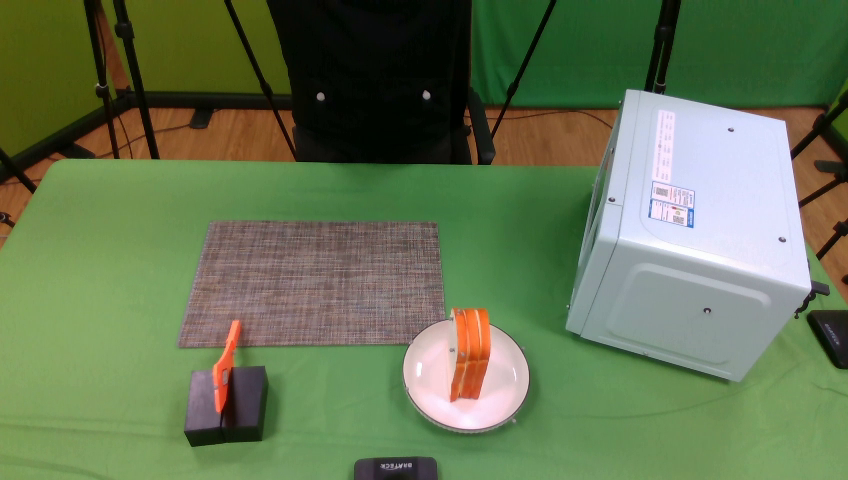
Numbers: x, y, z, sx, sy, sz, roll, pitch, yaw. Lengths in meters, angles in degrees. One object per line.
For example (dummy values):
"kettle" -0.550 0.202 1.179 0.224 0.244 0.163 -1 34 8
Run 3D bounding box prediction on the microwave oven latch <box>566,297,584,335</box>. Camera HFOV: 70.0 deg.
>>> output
"microwave oven latch" 0.268 0.126 1.059 0.030 0.029 0.079 16 46 12

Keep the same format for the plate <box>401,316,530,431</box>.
"plate" 0.066 0.217 0.982 0.208 0.039 0.206 2 46 -2

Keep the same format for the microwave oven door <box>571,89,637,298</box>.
"microwave oven door" 0.343 -0.091 1.133 0.039 0.245 0.354 15 47 10

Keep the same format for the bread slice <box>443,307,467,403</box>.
"bread slice" 0.048 0.171 0.948 0.018 0.135 0.106 0 42 -7

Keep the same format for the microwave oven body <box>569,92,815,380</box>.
"microwave oven body" 0.468 -0.022 1.082 0.325 0.261 0.440 15 46 11

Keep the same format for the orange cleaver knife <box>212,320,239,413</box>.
"orange cleaver knife" -0.306 0.190 0.944 0.012 0.077 0.210 -5 17 -7
